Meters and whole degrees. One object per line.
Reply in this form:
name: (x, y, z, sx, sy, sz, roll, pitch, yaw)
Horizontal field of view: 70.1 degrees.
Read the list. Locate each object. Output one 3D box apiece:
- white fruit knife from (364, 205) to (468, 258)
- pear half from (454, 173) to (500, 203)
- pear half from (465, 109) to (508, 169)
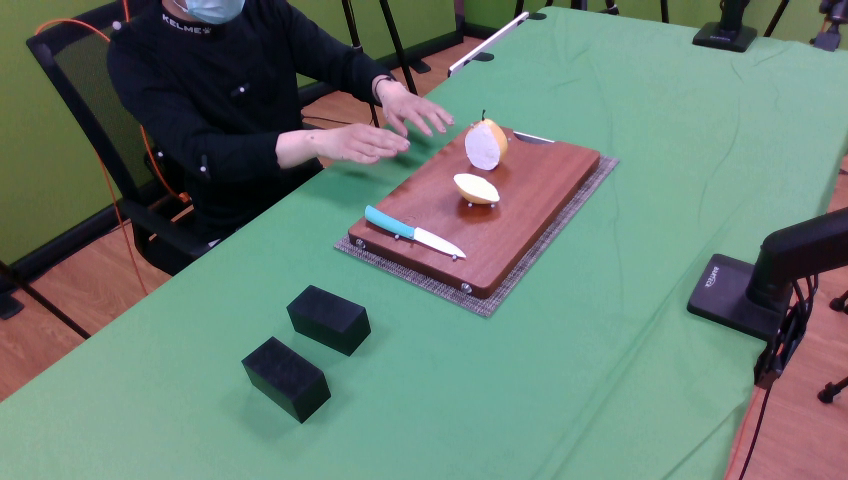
white fruit knife: (-0.017, -0.012, 0.943, 0.206, 0.016, 0.027, 24, 64, 29)
pear half: (0.086, -0.079, 0.994, 0.071, 0.031, 0.087, -22, 54, -38)
pear half: (0.112, -0.185, 1.055, 0.076, 0.110, 0.056, 18, 46, 22)
